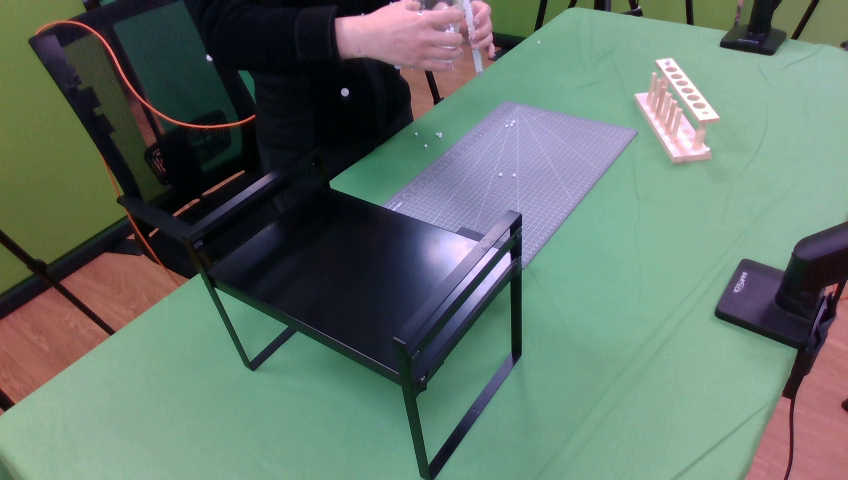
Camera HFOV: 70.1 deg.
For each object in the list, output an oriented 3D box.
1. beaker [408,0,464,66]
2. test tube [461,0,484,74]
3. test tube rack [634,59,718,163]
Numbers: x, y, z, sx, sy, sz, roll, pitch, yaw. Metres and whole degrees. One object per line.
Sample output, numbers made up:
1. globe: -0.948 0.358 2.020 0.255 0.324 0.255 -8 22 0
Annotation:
1. beaker: 0.019 -0.313 0.887 0.084 0.100 0.073 -10 33 -32
2. test tube: 0.079 -0.329 0.978 0.017 0.151 0.017 -7 54 11
3. test tube rack: 0.470 -0.250 1.148 0.067 0.085 0.241 -6 40 3
